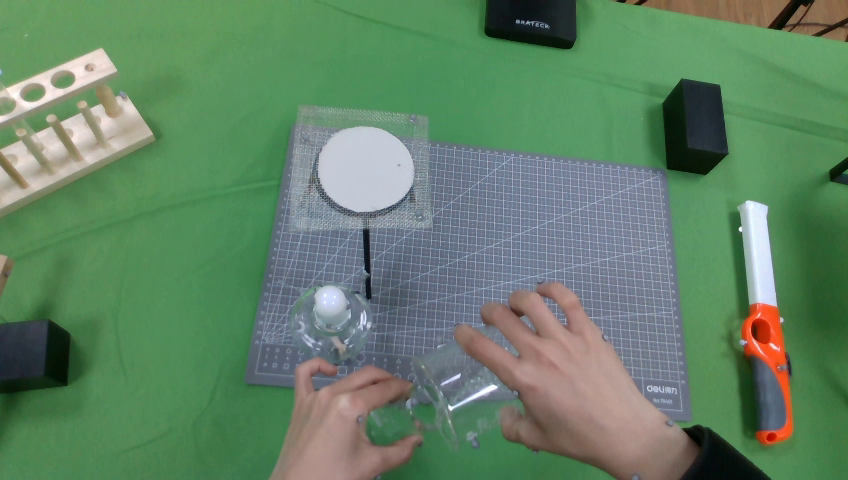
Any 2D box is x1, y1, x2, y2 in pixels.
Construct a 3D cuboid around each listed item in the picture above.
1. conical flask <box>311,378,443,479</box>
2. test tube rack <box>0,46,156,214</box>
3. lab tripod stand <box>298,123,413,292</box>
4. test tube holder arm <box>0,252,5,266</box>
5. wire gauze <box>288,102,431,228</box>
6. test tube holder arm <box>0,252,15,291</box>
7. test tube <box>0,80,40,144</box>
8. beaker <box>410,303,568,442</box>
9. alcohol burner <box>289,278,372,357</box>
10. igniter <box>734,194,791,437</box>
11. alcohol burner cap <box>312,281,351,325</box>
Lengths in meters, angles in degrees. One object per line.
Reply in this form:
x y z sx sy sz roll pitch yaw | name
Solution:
-0.036 0.155 0.517 0.076 0.122 0.074 27 45 -30 | conical flask
-0.407 -0.093 0.602 0.242 0.085 0.066 -33 75 -19 | test tube rack
-0.060 -0.037 0.595 0.149 0.132 0.147 3 68 -8 | lab tripod stand
-0.392 0.092 0.510 0.013 0.015 0.177 9 65 -4 | test tube holder arm
-0.056 -0.067 0.536 0.122 0.011 0.124 1 69 -7 | wire gauze
-0.381 0.052 0.529 0.010 0.015 0.087 9 65 -3 | test tube holder arm
-0.398 -0.136 0.568 0.017 0.151 0.017 4 62 -7 | test tube
0.050 0.098 0.461 0.100 0.084 0.073 -23 71 -13 | beaker
-0.086 0.066 0.560 0.078 0.119 0.077 4 65 -8 | alcohol burner
0.370 0.075 0.666 0.057 0.025 0.274 13 66 -13 | igniter
-0.082 0.053 0.526 0.034 0.048 0.033 1 70 -3 | alcohol burner cap
